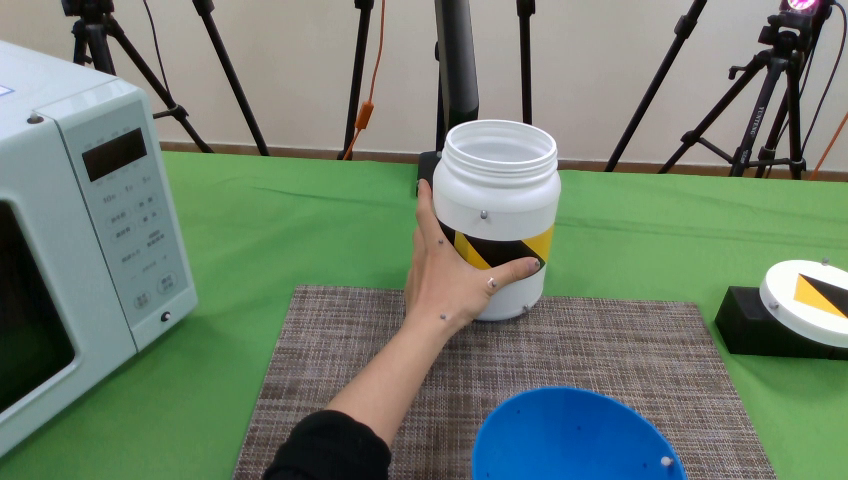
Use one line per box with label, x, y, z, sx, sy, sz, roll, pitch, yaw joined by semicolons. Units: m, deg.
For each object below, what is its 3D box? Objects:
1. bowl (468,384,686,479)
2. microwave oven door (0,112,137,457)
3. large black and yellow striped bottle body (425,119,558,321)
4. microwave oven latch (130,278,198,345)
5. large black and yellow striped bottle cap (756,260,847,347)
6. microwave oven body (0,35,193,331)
bowl;0.104;0.189;0.443;0.151;0.077;0.150;2;36;-1
microwave oven door;-0.366;0.094;0.379;0.039;0.246;0.355;20;40;22
large black and yellow striped bottle body;0.069;-0.022;0.639;0.131;0.185;0.129;2;33;-1
microwave oven latch;-0.260;0.067;0.596;0.030;0.030;0.079;22;41;23
large black and yellow striped bottle cap;0.398;0.061;0.609;0.115;0.019;0.114;1;36;0
microwave oven body;-0.473;0.031;0.465;0.324;0.262;0.440;20;41;21
